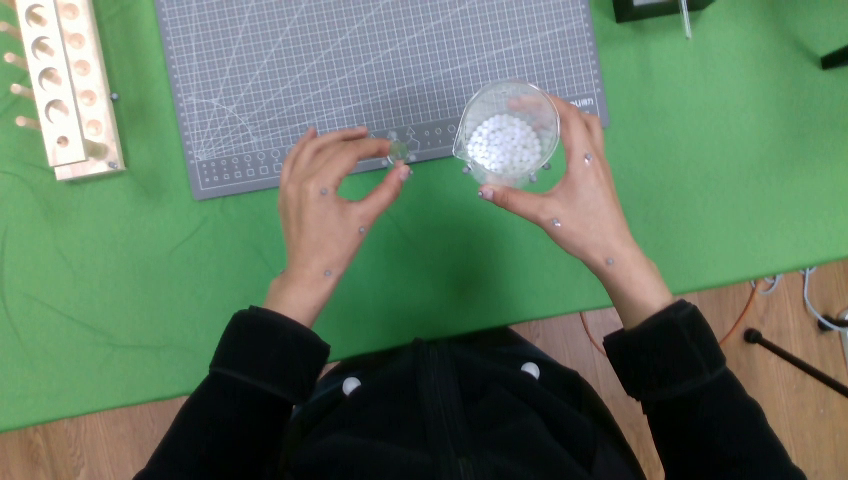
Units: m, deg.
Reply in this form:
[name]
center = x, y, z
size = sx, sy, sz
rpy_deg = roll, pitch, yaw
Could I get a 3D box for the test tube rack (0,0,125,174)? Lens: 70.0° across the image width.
[test tube rack]
center = -0.365, -0.192, 0.586
size = 0.067, 0.085, 0.242
rpy_deg = -11, 92, -3

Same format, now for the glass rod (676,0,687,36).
[glass rod]
center = 0.247, -0.303, 0.605
size = 0.008, 0.008, 0.199
rpy_deg = -9, 92, -2

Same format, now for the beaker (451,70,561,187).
[beaker]
center = 0.063, -0.083, 0.492
size = 0.084, 0.100, 0.074
rpy_deg = -22, 85, 3

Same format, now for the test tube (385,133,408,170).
[test tube]
center = -0.025, -0.074, 0.526
size = 0.017, 0.150, 0.017
rpy_deg = 0, 92, -5
